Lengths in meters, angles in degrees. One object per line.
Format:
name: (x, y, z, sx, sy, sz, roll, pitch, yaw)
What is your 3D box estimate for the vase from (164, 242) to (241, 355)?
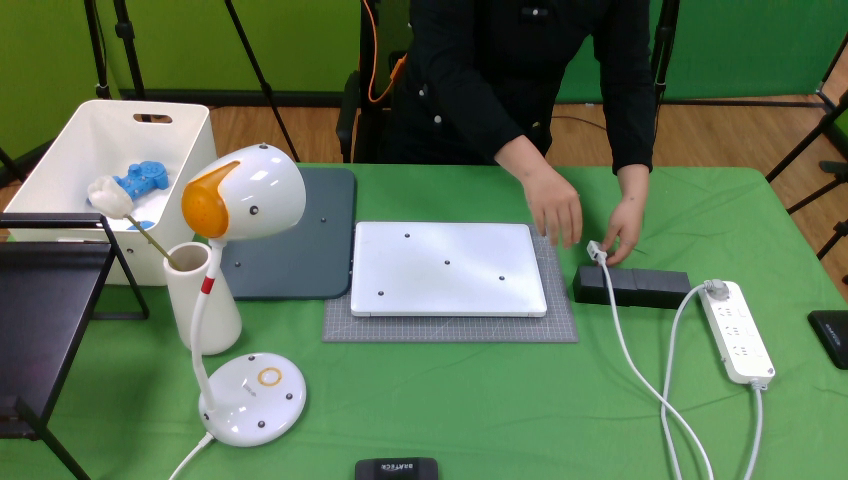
vase: (-0.349, 0.096, 0.954, 0.098, 0.201, 0.097, 3, 47, -3)

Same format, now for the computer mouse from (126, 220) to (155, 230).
computer mouse: (-0.537, 0.008, 1.127, 0.062, 0.041, 0.117, 32, 56, 20)

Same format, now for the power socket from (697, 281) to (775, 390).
power socket: (0.550, 0.159, 1.079, 0.072, 0.033, 0.225, 3, 46, -1)

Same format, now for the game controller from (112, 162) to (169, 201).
game controller: (-0.597, -0.113, 1.234, 0.097, 0.052, 0.155, 29, 51, 20)

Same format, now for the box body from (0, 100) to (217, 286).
box body: (-0.559, -0.092, 1.145, 0.254, 0.161, 0.361, 3, 46, -2)

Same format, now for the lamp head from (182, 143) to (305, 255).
lamp head: (-0.216, -0.044, 0.697, 0.112, 0.113, 0.123, 23, 31, 17)

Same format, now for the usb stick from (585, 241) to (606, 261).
usb stick: (0.330, 0.019, 1.172, 0.027, 0.021, 0.059, 8, 24, -2)

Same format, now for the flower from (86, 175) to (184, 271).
flower: (-0.365, 0.038, 0.894, 0.038, 0.364, 0.044, -4, 53, 15)

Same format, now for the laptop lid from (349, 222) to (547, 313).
laptop lid: (0.041, 0.046, 1.143, 0.357, 0.013, 0.240, 2, 44, -3)

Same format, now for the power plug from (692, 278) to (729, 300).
power plug: (0.523, 0.090, 1.117, 0.072, 0.053, 0.035, 10, 47, 8)

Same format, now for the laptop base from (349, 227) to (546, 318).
laptop base: (0.040, 0.056, 1.149, 0.355, 0.023, 0.234, 1, 42, -4)

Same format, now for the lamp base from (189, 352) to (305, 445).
lamp base: (-0.268, 0.196, 0.876, 0.160, 0.181, 0.179, 25, 52, 20)

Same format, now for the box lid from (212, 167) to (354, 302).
box lid: (-0.276, -0.024, 1.205, 0.263, 0.015, 0.369, 0, 46, -4)
